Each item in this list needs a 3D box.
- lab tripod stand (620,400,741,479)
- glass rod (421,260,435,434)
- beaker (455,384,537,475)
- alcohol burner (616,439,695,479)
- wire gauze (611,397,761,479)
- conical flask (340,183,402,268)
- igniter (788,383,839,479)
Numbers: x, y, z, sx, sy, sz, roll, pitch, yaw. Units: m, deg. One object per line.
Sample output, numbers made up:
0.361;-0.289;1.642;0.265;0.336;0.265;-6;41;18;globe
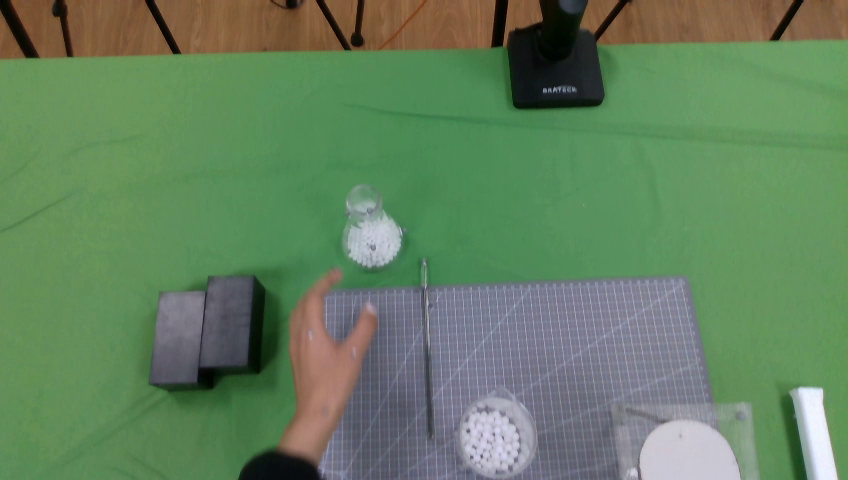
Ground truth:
0.229;0.223;0.583;0.148;0.132;0.147;0;71;0;lab tripod stand
0.004;0.116;0.688;0.008;0.008;0.198;-3;69;-2;glass rod
0.069;0.194;0.611;0.074;0.101;0.083;8;68;3;beaker
0.230;0.233;0.590;0.078;0.120;0.077;-1;69;2;alcohol burner
0.229;0.197;0.521;0.125;0.011;0.120;0;70;0;wire gauze
-0.064;-0.021;0.683;0.075;0.122;0.075;0;68;0;conical flask
0.415;0.287;0.620;0.057;0.025;0.274;6;69;-10;igniter
